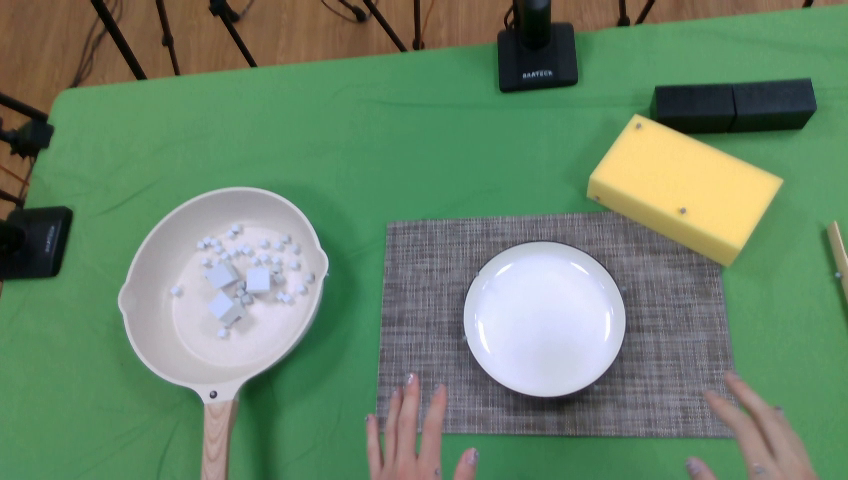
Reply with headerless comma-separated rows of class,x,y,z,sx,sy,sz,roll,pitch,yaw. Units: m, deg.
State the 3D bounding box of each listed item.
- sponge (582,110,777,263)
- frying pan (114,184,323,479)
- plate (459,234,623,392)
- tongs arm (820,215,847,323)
sponge,0.334,-0.075,0.810,0.205,0.061,0.118,31,76,21
frying pan,-0.273,0.152,0.812,0.306,0.104,0.483,-9,60,7
plate,0.149,0.095,0.790,0.207,0.039,0.206,-3,69,9
tongs arm,0.533,0.149,0.711,0.028,0.028,0.384,-7,69,6
